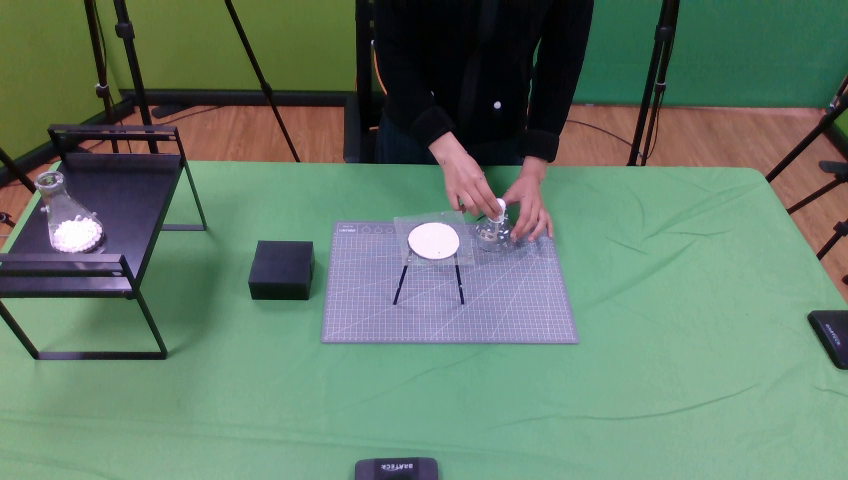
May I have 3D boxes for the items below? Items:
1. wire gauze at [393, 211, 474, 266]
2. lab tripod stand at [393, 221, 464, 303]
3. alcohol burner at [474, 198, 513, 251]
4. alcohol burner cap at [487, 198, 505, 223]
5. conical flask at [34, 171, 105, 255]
[{"bbox_3d":[0.015,-0.003,1.028,0.125,0.011,0.120,-4,47,-7],"label":"wire gauze"},{"bbox_3d":[0.009,0.045,1.075,0.148,0.132,0.147,2,48,-2],"label":"lab tripod stand"},{"bbox_3d":[0.137,-0.035,1.176,0.078,0.120,0.077,1,47,-1],"label":"alcohol burner"},{"bbox_3d":[0.139,-0.058,1.149,0.034,0.048,0.033,2,45,-2],"label":"alcohol burner cap"},{"bbox_3d":[-0.522,-0.043,0.879,0.075,0.122,0.075,2,46,-2],"label":"conical flask"}]
